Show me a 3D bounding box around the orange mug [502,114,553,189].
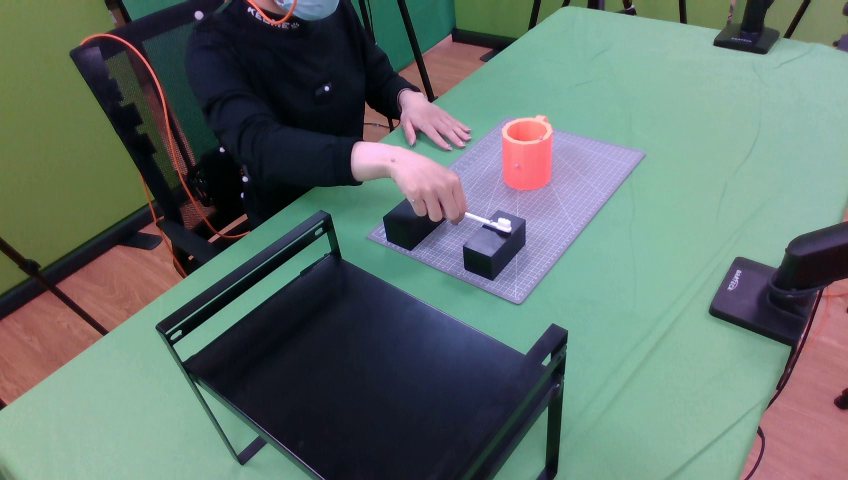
[{"bbox_3d":[0.190,-0.164,1.071,0.083,0.101,0.126,16,50,25],"label":"orange mug"}]

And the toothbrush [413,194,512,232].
[{"bbox_3d":[0.057,-0.046,0.938,0.180,0.017,0.014,20,43,30],"label":"toothbrush"}]
